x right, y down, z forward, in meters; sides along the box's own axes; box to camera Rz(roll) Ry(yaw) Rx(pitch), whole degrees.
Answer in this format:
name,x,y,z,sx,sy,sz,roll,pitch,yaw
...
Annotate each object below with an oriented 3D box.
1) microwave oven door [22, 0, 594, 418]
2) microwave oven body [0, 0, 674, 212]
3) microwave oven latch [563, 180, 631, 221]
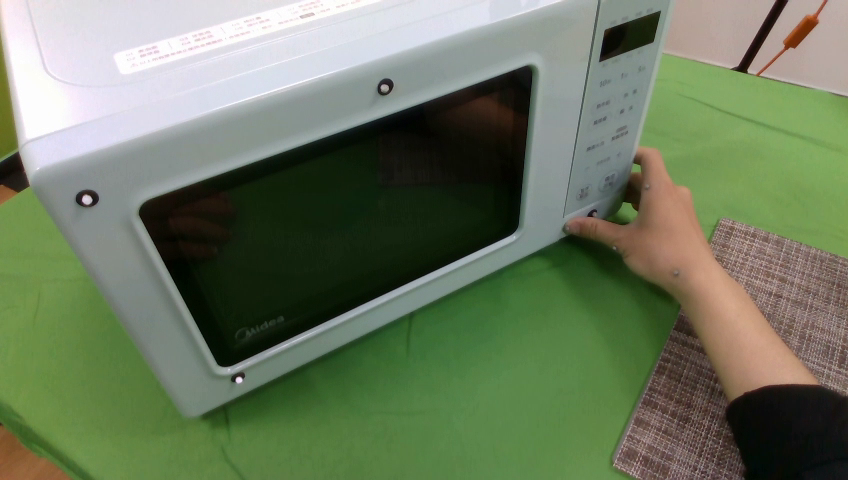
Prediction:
name,x,y,z,sx,sy,sz,roll,pitch,yaw
microwave oven door,-0.039,-0.024,0.438,0.356,0.246,0.039,-24,49,-19
microwave oven body,-0.075,-0.124,0.545,0.442,0.263,0.322,-25,50,-19
microwave oven latch,0.158,-0.042,0.586,0.079,0.030,0.030,-14,47,-9
